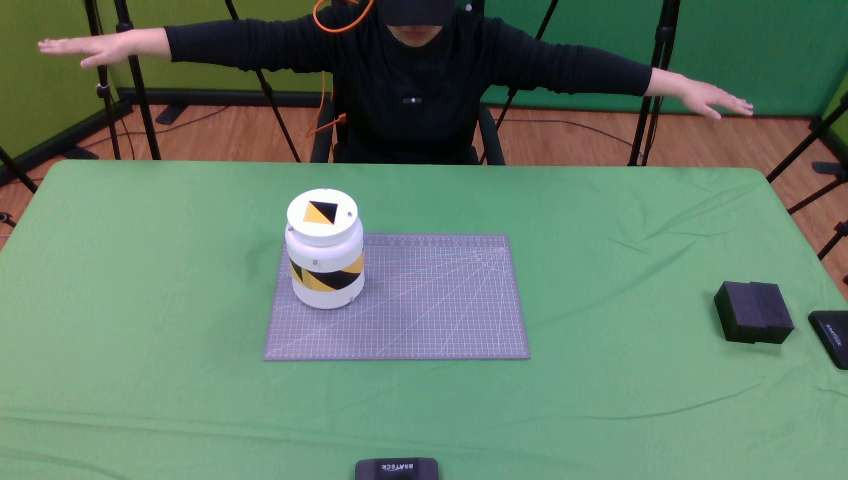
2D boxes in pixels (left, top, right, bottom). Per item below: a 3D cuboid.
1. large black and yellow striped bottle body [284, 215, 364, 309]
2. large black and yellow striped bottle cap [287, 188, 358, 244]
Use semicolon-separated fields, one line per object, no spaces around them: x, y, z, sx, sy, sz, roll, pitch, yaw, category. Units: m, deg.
-0.171;0.017;1.052;0.131;0.185;0.130;2;46;-2;large black and yellow striped bottle body
-0.166;-0.041;0.991;0.115;0.019;0.114;2;46;-1;large black and yellow striped bottle cap
